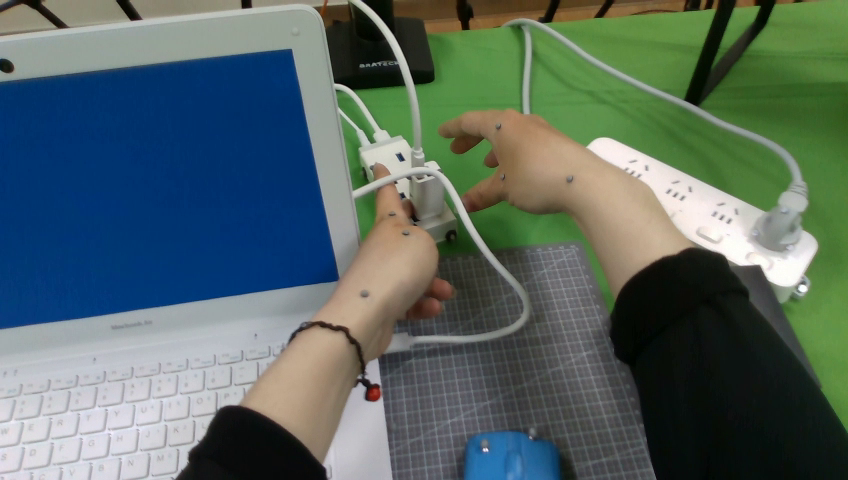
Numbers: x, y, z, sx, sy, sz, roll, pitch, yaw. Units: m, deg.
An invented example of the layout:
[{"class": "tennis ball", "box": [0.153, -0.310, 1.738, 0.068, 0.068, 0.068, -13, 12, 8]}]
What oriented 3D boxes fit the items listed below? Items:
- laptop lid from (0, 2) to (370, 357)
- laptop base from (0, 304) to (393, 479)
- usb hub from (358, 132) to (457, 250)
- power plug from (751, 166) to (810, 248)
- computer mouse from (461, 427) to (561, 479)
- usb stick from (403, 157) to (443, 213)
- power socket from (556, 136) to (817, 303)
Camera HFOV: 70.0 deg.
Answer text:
[{"class": "laptop lid", "box": [-0.223, -0.018, 0.395, 0.357, 0.244, 0.013, -9, 38, -4]}, {"class": "laptop base", "box": [-0.197, 0.167, 0.395, 0.355, 0.023, 0.233, -8, 54, -5]}, {"class": "usb hub", "box": [-0.018, -0.048, 0.562, 0.049, 0.025, 0.123, -20, 54, -14]}, {"class": "power plug", "box": [0.300, -0.019, 0.498, 0.072, 0.053, 0.035, -34, 56, -21]}, {"class": "computer mouse", "box": [0.053, 0.169, 0.371, 0.063, 0.041, 0.116, 3, 46, 7]}, {"class": "usb stick", "box": [0.000, -0.042, 0.515, 0.027, 0.059, 0.021, -31, 65, -13]}, {"class": "power socket", "box": [0.226, -0.024, 0.532, 0.225, 0.033, 0.072, 33, 58, 25]}]
